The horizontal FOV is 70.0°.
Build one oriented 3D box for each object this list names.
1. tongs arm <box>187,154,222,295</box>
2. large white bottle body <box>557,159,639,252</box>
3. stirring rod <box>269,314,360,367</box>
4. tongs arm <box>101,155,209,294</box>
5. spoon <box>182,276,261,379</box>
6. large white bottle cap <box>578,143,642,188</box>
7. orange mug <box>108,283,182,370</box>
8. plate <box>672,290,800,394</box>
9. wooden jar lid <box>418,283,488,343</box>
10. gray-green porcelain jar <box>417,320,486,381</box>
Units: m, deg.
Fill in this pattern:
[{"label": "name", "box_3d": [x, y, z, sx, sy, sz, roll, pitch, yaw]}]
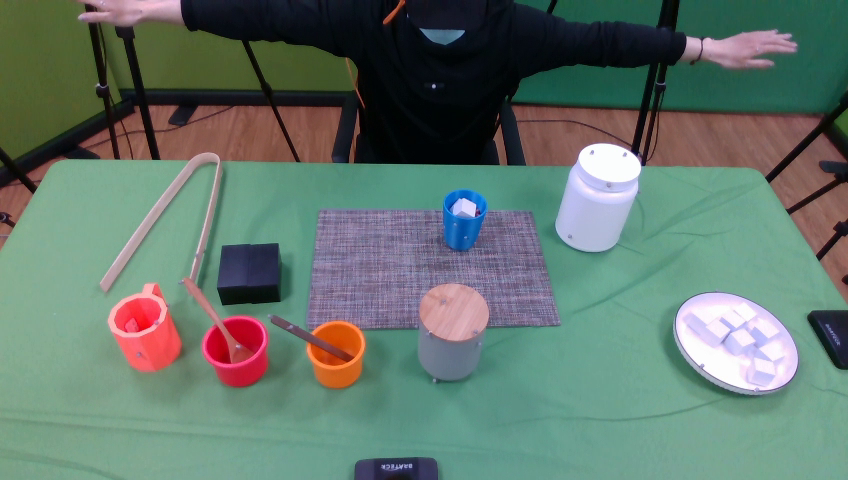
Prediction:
[{"label": "tongs arm", "box_3d": [-0.443, -0.044, 1.200, 0.051, 0.027, 0.382, -4, 45, 0]}, {"label": "large white bottle body", "box_3d": [0.340, -0.081, 1.185, 0.131, 0.185, 0.130, 2, 46, -1]}, {"label": "stirring rod", "box_3d": [-0.168, 0.159, 0.950, 0.177, 0.006, 0.014, 35, 41, -30]}, {"label": "tongs arm", "box_3d": [-0.526, -0.045, 1.203, 0.028, 0.028, 0.385, 3, 45, 12]}, {"label": "spoon", "box_3d": [-0.321, 0.137, 0.957, 0.041, 0.021, 0.194, -36, 102, -32]}, {"label": "large white bottle cap", "box_3d": [0.344, -0.139, 1.123, 0.115, 0.018, 0.114, 2, 46, -2]}, {"label": "orange mug", "box_3d": [-0.445, 0.133, 0.983, 0.083, 0.101, 0.125, -1, 50, -5]}, {"label": "plate", "box_3d": [0.533, 0.178, 1.050, 0.208, 0.039, 0.206, 2, 46, -2]}, {"label": "wooden jar lid", "box_3d": [0.044, 0.114, 0.931, 0.108, 0.021, 0.107, 2, 49, -2]}, {"label": "gray-green porcelain jar", "box_3d": [0.042, 0.158, 0.975, 0.106, 0.127, 0.105, 2, 46, -2]}]
